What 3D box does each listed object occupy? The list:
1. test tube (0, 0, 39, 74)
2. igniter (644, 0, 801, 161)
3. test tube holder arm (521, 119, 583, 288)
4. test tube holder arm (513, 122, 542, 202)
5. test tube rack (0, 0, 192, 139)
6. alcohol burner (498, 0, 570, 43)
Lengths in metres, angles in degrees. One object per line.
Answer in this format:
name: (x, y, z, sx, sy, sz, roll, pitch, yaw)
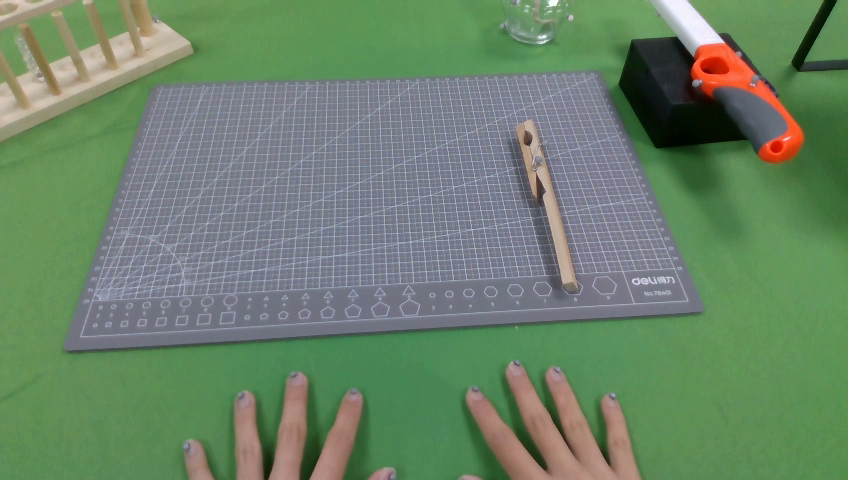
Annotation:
test tube: (-0.369, -0.212, 0.526, 0.017, 0.151, 0.017, 2, 47, -2)
igniter: (0.257, -0.165, 0.546, 0.057, 0.025, 0.273, -7, 49, -3)
test tube holder arm: (0.102, -0.037, 0.498, 0.013, 0.015, 0.176, -28, 48, 22)
test tube holder arm: (0.092, -0.069, 0.527, 0.010, 0.015, 0.087, -27, 48, 23)
test tube rack: (-0.350, -0.176, 0.562, 0.066, 0.086, 0.242, 38, 59, 26)
alcohol burner: (0.118, -0.270, 0.635, 0.078, 0.120, 0.077, 0, 53, 0)
